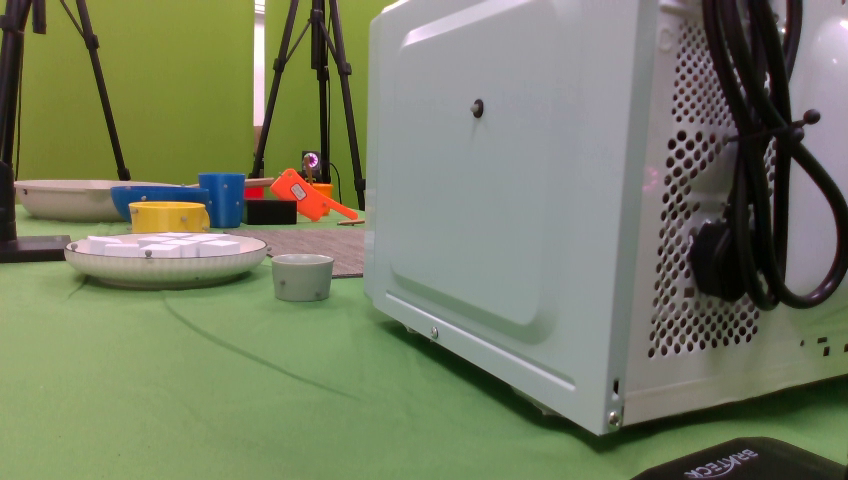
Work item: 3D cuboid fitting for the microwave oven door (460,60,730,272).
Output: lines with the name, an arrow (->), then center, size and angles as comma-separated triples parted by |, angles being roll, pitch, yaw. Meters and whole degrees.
microwave oven door -> 0.203, -0.100, 0.803 | 0.354, 0.243, 0.039 | 7, 9, 39

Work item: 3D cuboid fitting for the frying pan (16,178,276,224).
frying pan -> -0.553, -0.096, 1.266 | 0.490, 0.102, 0.305 | -10, 13, -24

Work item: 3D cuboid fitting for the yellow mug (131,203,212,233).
yellow mug -> -0.356, -0.020, 0.878 | 0.099, 0.064, 0.131 | 4, 7, 22

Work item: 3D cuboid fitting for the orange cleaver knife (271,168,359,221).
orange cleaver knife -> -0.236, -0.084, 1.333 | 0.212, 0.077, 0.012 | 31, -10, -32

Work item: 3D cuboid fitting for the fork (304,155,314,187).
fork -> -0.268, -0.134, 1.446 | 0.028, 0.018, 0.207 | 2, -36, -1

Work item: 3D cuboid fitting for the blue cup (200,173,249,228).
blue cup -> -0.380, -0.076, 1.154 | 0.093, 0.100, 0.092 | 0, 8, 0

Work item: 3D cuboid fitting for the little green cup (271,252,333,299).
little green cup -> -0.122, 0.035, 0.605 | 0.061, 0.038, 0.061 | 2, 7, 0

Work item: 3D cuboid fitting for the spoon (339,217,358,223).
spoon -> -0.087, -0.041, 1.268 | 0.193, 0.021, 0.041 | 4, 24, 13

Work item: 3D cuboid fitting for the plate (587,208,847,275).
plate -> 0.245, -0.001, 0.512 | 0.209, 0.038, 0.209 | 1, 7, 0

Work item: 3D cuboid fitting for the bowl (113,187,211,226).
bowl -> -0.436, -0.046, 1.013 | 0.151, 0.077, 0.151 | 2, 7, 0

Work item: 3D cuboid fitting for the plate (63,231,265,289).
plate -> -0.288, 0.021, 0.687 | 0.208, 0.039, 0.207 | 2, 8, 0

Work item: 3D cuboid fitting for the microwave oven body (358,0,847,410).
microwave oven body -> 0.210, -0.051, 0.471 | 0.444, 0.260, 0.324 | -1, 7, -28

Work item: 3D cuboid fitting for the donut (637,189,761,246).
donut -> 0.235, -0.019, 0.521 | 0.099, 0.048, 0.099 | 3, 4, 0

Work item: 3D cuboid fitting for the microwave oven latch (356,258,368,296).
microwave oven latch -> -0.019, 0.031, 0.528 | 0.079, 0.029, 0.030 | -1, 7, -25
